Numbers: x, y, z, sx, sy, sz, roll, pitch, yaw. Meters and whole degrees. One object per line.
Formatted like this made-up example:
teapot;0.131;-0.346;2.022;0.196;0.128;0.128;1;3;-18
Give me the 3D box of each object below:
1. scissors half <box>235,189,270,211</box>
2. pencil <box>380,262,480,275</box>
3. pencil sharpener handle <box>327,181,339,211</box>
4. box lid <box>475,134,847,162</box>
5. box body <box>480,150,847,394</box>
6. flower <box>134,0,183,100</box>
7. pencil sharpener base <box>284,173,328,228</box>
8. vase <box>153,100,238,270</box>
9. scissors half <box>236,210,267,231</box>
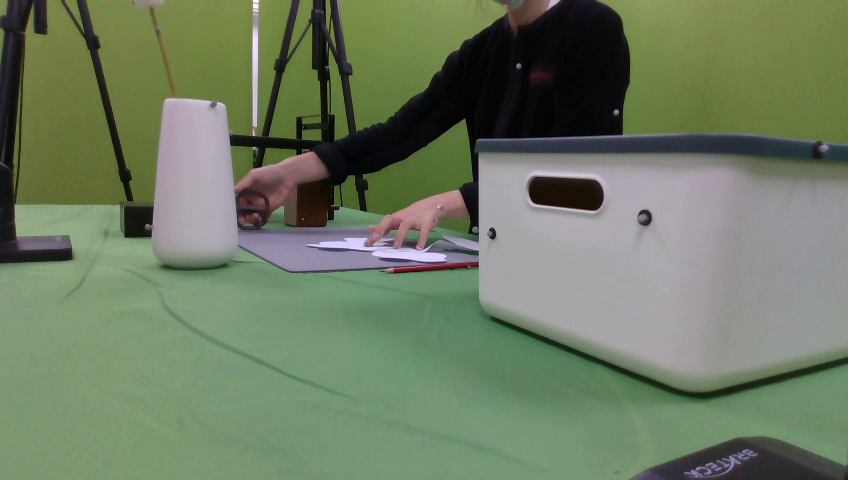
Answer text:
scissors half;-0.362;-0.068;1.067;0.176;0.040;0.013;-5;13;-26
pencil;0.030;0.036;0.794;0.195;0.012;0.012;-3;9;-30
pencil sharpener handle;-0.194;-0.094;1.256;0.031;0.067;0.036;-2;-6;-36
box lid;0.256;-0.073;0.528;0.373;0.015;0.262;-2;8;-31
box body;0.254;0.002;0.539;0.366;0.160;0.253;-2;8;-31
flower;-0.282;-0.147;0.713;0.038;0.362;0.044;-23;24;-31
pencil sharpener base;-0.239;-0.081;1.231;0.077;0.107;0.061;-2;8;-36
vase;-0.278;-0.066;0.736;0.098;0.200;0.098;2;9;0
scissors half;-0.366;-0.048;1.070;0.176;0.040;0.012;15;9;-29
